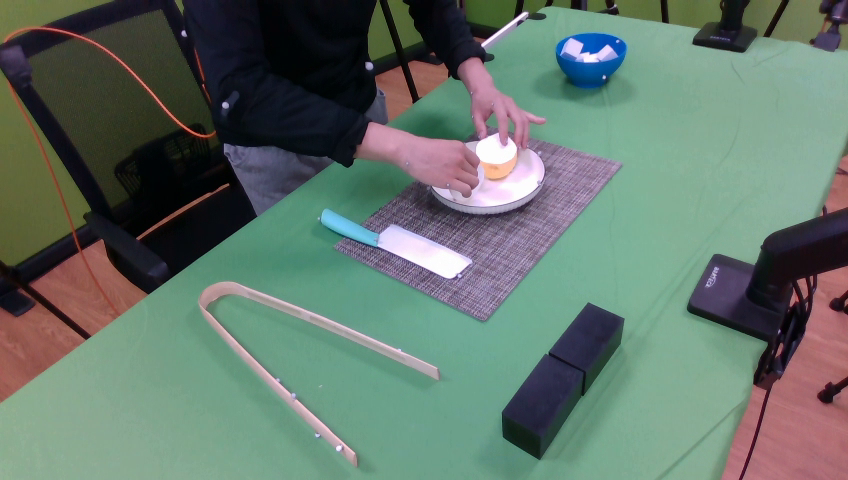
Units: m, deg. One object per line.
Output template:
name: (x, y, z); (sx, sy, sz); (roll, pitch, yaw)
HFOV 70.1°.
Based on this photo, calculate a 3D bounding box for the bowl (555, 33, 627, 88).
bowl: (0.360, -0.384, 1.317); (0.151, 0.077, 0.150); (-4, 41, 4)

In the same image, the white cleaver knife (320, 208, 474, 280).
white cleaver knife: (-0.053, 0.000, 0.977); (0.284, 0.021, 0.066); (23, 42, 26)

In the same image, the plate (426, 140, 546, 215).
plate: (0.109, -0.106, 1.059); (0.207, 0.039, 0.206); (-4, 41, 4)

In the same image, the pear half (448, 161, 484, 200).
pear half: (0.061, -0.103, 1.002); (0.031, 0.070, 0.089); (34, 18, 38)

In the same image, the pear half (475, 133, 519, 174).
pear half: (0.131, -0.157, 1.085); (0.076, 0.056, 0.109); (12, 37, 6)

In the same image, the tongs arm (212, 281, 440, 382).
tongs arm: (-0.148, 0.121, 0.846); (0.385, 0.028, 0.028); (17, 48, 25)

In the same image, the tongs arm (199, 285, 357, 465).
tongs arm: (-0.199, 0.162, 0.797); (0.381, 0.026, 0.051); (28, 50, 35)
